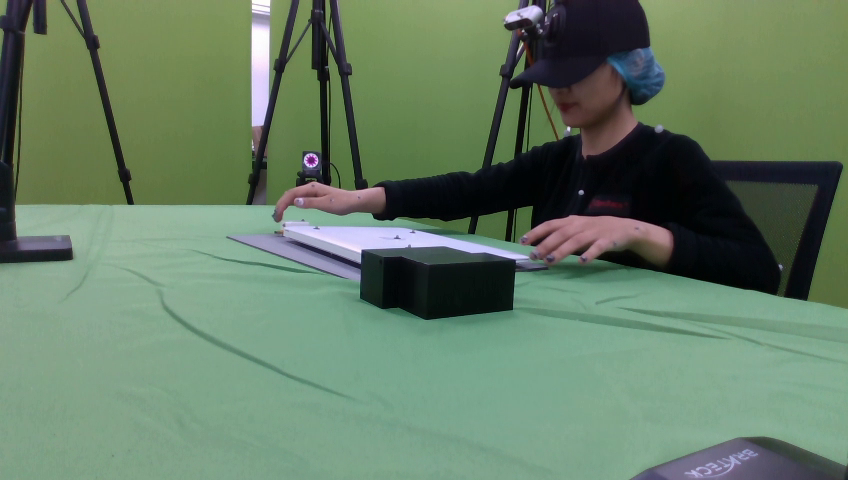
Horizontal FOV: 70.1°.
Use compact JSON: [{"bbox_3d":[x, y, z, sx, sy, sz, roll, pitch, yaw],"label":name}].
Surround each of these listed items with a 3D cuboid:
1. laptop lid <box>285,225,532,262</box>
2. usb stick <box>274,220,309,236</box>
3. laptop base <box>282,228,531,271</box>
[{"bbox_3d":[-0.040,0.000,0.900,0.243,0.013,0.355,0,7,-31],"label":"laptop lid"},{"bbox_3d":[-0.230,-0.020,1.045,0.059,0.027,0.021,-7,13,-39],"label":"usb stick"},{"bbox_3d":[-0.042,0.012,0.901,0.237,0.023,0.352,2,6,-33],"label":"laptop base"}]
